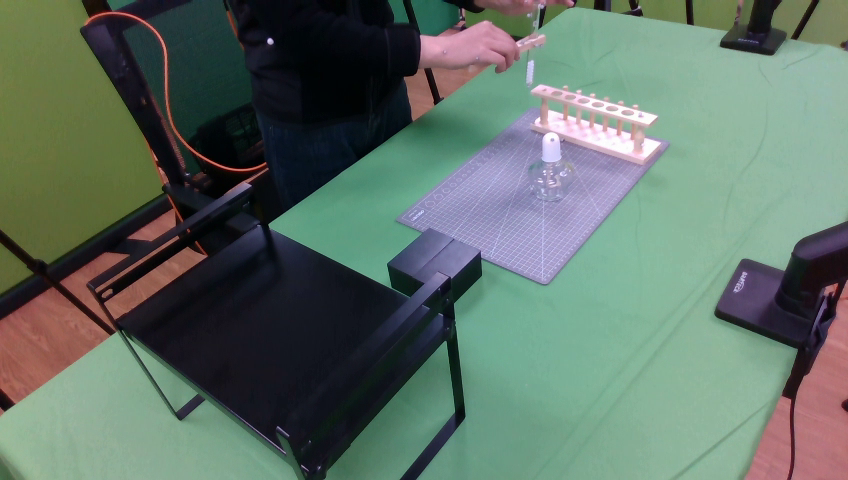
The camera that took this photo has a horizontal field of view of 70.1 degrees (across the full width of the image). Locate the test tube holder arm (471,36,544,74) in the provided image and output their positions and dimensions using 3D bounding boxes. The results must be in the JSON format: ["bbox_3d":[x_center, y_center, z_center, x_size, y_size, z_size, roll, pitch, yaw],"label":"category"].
[{"bbox_3d":[0.147,-0.323,1.051,0.179,0.015,0.013,-31,44,-30],"label":"test tube holder arm"}]

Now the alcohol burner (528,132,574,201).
[{"bbox_3d":[0.214,-0.126,1.016,0.078,0.119,0.077,-5,38,5],"label":"alcohol burner"}]

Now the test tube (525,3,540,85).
[{"bbox_3d":[0.196,-0.350,1.092,0.017,0.151,0.017,-1,40,1],"label":"test tube"}]

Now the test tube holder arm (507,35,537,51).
[{"bbox_3d":[0.175,-0.346,1.078,0.010,0.015,0.088,23,46,32],"label":"test tube holder arm"}]

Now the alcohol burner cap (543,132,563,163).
[{"bbox_3d":[0.211,-0.154,0.994,0.034,0.048,0.033,-7,35,6],"label":"alcohol burner cap"}]

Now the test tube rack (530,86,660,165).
[{"bbox_3d":[0.320,-0.226,1.140,0.240,0.085,0.067,27,51,34],"label":"test tube rack"}]
